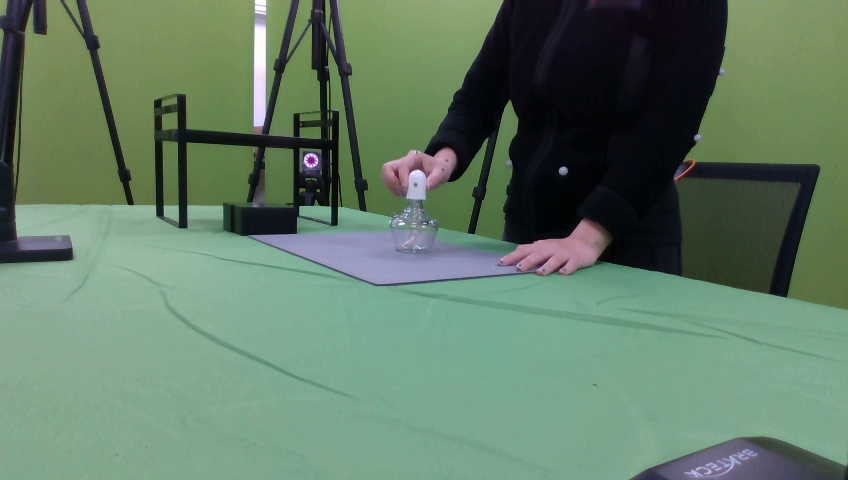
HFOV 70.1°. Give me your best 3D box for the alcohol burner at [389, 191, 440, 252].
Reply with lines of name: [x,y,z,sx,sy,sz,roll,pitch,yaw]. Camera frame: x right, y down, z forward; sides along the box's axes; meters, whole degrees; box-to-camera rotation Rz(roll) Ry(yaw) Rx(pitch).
alcohol burner: [-0.013,-0.041,0.929,0.078,0.119,0.078,4,8,0]

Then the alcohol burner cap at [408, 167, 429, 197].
alcohol burner cap: [-0.010,-0.088,0.924,0.034,0.048,0.034,-5,4,1]
